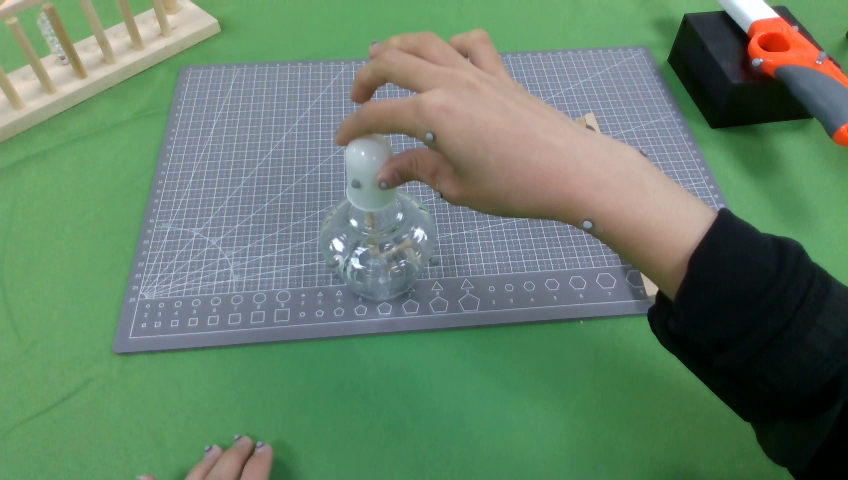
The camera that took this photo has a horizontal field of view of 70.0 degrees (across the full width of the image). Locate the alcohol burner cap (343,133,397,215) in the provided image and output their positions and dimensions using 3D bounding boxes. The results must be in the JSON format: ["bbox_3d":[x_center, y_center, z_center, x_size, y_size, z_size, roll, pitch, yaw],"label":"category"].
[{"bbox_3d":[-0.033,-0.041,0.353,0.034,0.048,0.033,1,55,-1],"label":"alcohol burner cap"}]

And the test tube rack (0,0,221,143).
[{"bbox_3d":[-0.310,-0.183,0.534,0.066,0.086,0.242,38,61,24],"label":"test tube rack"}]

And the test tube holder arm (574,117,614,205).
[{"bbox_3d":[0.141,-0.065,0.494,0.010,0.015,0.087,-29,50,25],"label":"test tube holder arm"}]

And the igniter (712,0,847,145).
[{"bbox_3d":[0.294,-0.176,0.518,0.057,0.025,0.273,-10,51,-5],"label":"igniter"}]

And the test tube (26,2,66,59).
[{"bbox_3d":[-0.331,-0.217,0.498,0.017,0.151,0.017,1,49,-1],"label":"test tube"}]

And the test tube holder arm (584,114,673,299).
[{"bbox_3d":[0.152,-0.032,0.466,0.013,0.015,0.176,-31,50,24],"label":"test tube holder arm"}]

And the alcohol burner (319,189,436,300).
[{"bbox_3d":[-0.031,-0.013,0.390,0.078,0.120,0.077,0,55,0],"label":"alcohol burner"}]
